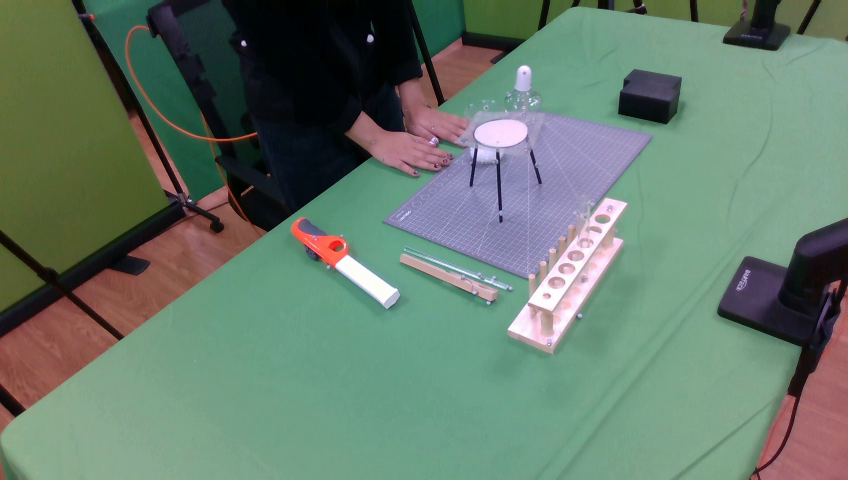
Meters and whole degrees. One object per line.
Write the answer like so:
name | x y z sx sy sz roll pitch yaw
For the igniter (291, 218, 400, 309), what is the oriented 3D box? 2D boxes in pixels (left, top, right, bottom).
igniter | -0.136 0.031 0.970 0.057 0.025 0.274 -41 48 -19

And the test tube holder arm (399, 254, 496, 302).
test tube holder arm | 0.032 0.054 0.914 0.177 0.015 0.013 21 16 32

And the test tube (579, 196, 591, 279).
test tube | 0.217 0.000 0.816 0.017 0.151 0.017 -7 44 8

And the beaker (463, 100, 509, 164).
beaker | 0.120 -0.200 1.134 0.083 0.101 0.074 5 43 16

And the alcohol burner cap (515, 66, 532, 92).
alcohol burner cap | 0.198 -0.320 1.192 0.034 0.048 0.033 0 47 1

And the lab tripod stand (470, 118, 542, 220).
lab tripod stand | 0.135 -0.128 1.019 0.148 0.132 0.147 -5 38 5

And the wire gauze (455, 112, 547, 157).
wire gauze | 0.124 -0.176 0.973 0.124 0.011 0.121 10 42 22

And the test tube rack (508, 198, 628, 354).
test tube rack | 0.206 0.039 0.850 0.066 0.085 0.243 20 48 31

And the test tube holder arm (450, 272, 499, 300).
test tube holder arm | 0.071 0.068 0.895 0.087 0.015 0.010 21 16 32

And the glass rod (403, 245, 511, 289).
glass rod | 0.047 0.040 0.939 0.198 0.008 0.008 21 49 30

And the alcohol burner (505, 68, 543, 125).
alcohol burner | 0.201 -0.293 1.216 0.078 0.119 0.077 -4 41 4
